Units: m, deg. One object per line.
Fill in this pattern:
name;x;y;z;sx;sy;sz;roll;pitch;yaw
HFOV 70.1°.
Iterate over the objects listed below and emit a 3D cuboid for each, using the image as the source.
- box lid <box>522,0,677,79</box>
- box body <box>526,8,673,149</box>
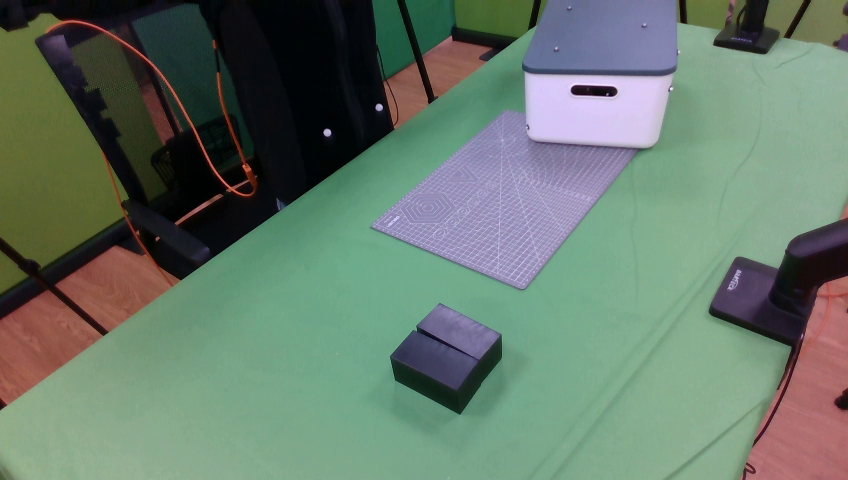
box lid;0.346;-0.397;1.163;0.262;0.015;0.371;6;41;17
box body;0.356;-0.342;1.212;0.253;0.161;0.363;7;42;17
